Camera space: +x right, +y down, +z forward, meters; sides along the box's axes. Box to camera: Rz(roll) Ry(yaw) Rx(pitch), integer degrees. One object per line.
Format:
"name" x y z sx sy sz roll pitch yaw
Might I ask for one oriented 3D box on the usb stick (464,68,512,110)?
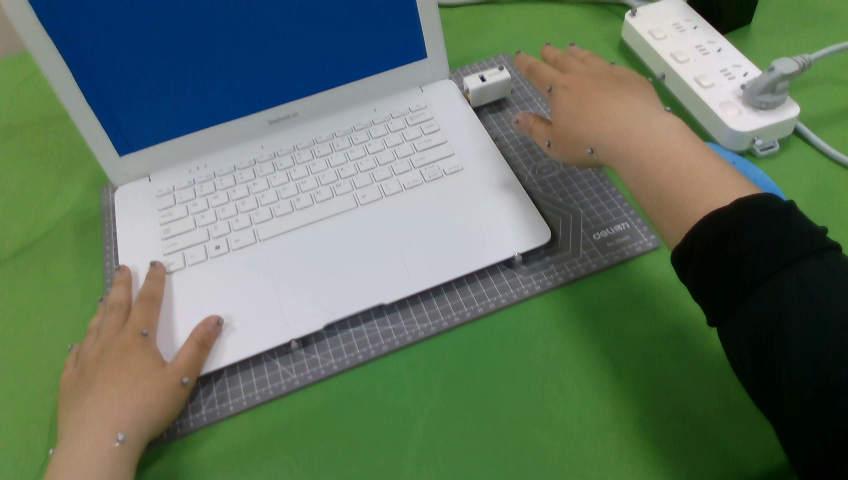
"usb stick" 0.058 -0.150 0.609 0.059 0.027 0.021 -21 52 -3

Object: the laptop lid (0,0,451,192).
"laptop lid" -0.157 -0.192 0.543 0.357 0.244 0.013 -22 40 -6

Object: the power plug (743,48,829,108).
"power plug" 0.322 -0.134 0.536 0.072 0.053 0.035 -9 54 1

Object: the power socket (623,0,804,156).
"power socket" 0.275 -0.167 0.595 0.072 0.033 0.224 -18 52 -5

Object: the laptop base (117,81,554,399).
"laptop base" -0.092 -0.019 0.547 0.354 0.023 0.233 -21 55 -8

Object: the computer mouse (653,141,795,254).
"computer mouse" 0.245 -0.042 0.500 0.063 0.041 0.116 -20 49 -5
